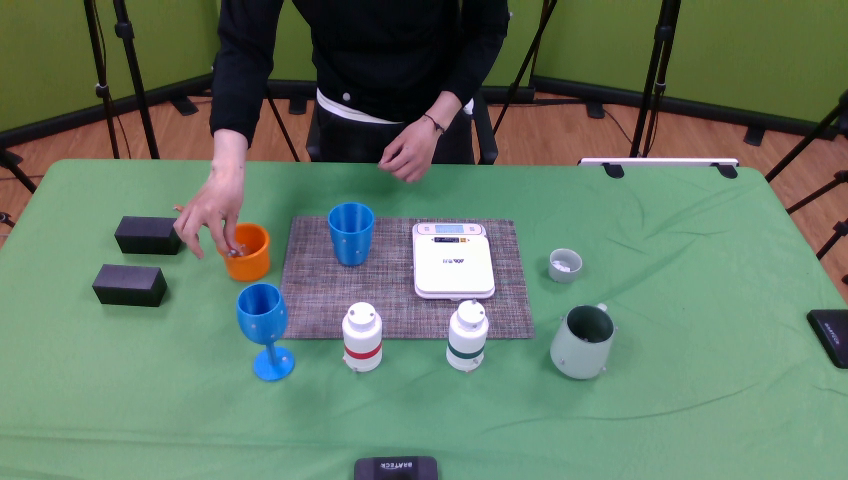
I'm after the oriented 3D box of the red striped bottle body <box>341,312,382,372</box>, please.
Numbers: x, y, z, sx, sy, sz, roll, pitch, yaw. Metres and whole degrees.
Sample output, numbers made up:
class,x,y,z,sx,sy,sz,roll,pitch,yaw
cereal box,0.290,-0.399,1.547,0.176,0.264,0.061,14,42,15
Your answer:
class,x,y,z,sx,sy,sz,roll,pitch,yaw
red striped bottle body,-0.100,0.154,0.972,0.063,0.120,0.062,2,46,-1

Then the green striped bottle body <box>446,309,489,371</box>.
class,x,y,z,sx,sy,sz,roll,pitch,yaw
green striped bottle body,0.070,0.155,0.984,0.063,0.120,0.063,2,46,-2

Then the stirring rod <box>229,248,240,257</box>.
class,x,y,z,sx,sy,sz,roll,pitch,yaw
stirring rod,-0.330,0.023,1.059,0.014,0.176,0.006,35,79,-11

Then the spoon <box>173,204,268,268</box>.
class,x,y,z,sx,sy,sz,roll,pitch,yaw
spoon,-0.363,-0.009,1.089,0.021,0.195,0.041,-33,32,26

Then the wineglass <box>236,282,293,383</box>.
class,x,y,z,sx,sy,sz,roll,pitch,yaw
wineglass,-0.243,0.143,0.934,0.074,0.173,0.073,2,46,-2

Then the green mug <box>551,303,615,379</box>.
class,x,y,z,sx,sy,sz,roll,pitch,yaw
green mug,0.271,0.157,1.007,0.092,0.105,0.125,27,50,21

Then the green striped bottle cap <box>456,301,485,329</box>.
class,x,y,z,sx,sy,sz,roll,pitch,yaw
green striped bottle cap,0.073,0.116,0.943,0.044,0.020,0.044,3,46,-3

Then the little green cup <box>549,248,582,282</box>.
class,x,y,z,sx,sy,sz,roll,pitch,yaw
little green cup,0.268,0.050,1.156,0.061,0.039,0.061,1,46,-1

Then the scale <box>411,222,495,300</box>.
class,x,y,z,sx,sy,sz,roll,pitch,yaw
scale,0.052,0.031,1.158,0.149,0.032,0.199,1,46,-4

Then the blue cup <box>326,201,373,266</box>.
class,x,y,z,sx,sy,sz,roll,pitch,yaw
blue cup,-0.138,-0.007,1.131,0.093,0.101,0.092,3,45,-3

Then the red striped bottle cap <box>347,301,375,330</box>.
class,x,y,z,sx,sy,sz,roll,pitch,yaw
red striped bottle cap,-0.098,0.116,0.934,0.044,0.018,0.044,3,48,-3
